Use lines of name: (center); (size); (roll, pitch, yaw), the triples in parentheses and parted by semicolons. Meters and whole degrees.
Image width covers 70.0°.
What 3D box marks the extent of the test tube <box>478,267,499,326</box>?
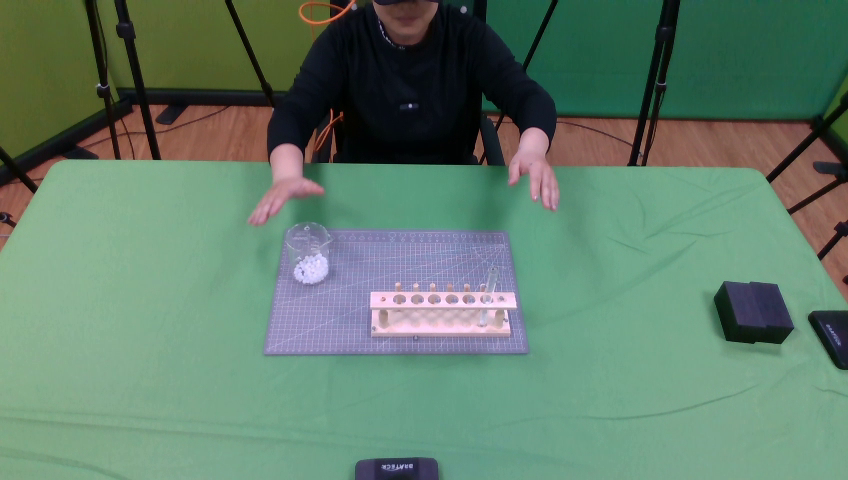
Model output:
test tube: (0.105, 0.096, 0.997); (0.017, 0.151, 0.017); (2, 49, -2)

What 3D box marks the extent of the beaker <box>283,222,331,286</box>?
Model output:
beaker: (-0.208, 0.028, 1.098); (0.084, 0.101, 0.073); (2, 46, -4)

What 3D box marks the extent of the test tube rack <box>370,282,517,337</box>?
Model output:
test tube rack: (0.030, 0.116, 1.041); (0.242, 0.085, 0.066); (1, 46, -4)
